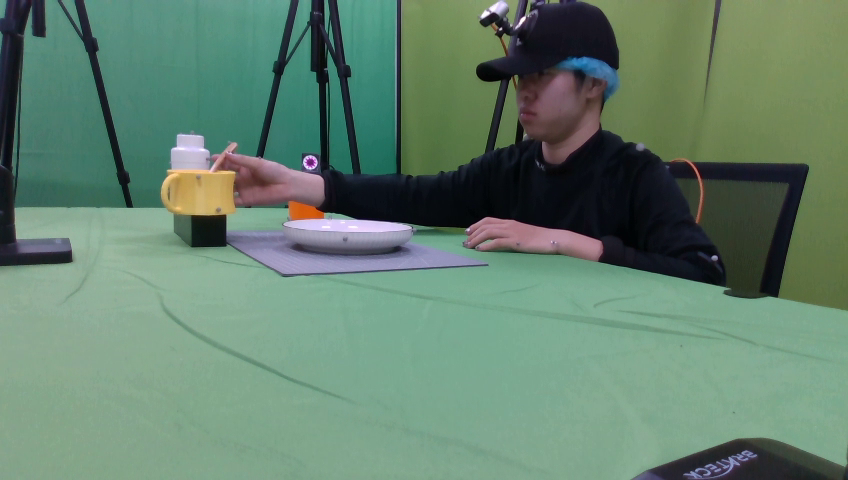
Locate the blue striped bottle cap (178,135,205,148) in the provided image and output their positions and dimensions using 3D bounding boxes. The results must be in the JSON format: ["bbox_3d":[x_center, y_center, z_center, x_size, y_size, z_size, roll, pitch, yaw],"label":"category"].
[{"bbox_3d":[-0.405,-0.171,1.053,0.044,0.020,0.044,3,11,0],"label":"blue striped bottle cap"}]

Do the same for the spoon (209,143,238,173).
[{"bbox_3d":[-0.340,-0.114,0.989,0.041,0.021,0.193,4,40,6],"label":"spoon"}]

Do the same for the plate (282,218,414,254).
[{"bbox_3d":[-0.121,-0.007,0.971,0.208,0.039,0.207,2,7,0],"label":"plate"}]

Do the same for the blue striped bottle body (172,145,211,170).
[{"bbox_3d":[-0.407,-0.120,1.059,0.063,0.120,0.063,3,7,0],"label":"blue striped bottle body"}]

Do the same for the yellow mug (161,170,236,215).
[{"bbox_3d":[-0.354,-0.074,0.935,0.099,0.064,0.131,5,9,20],"label":"yellow mug"}]
